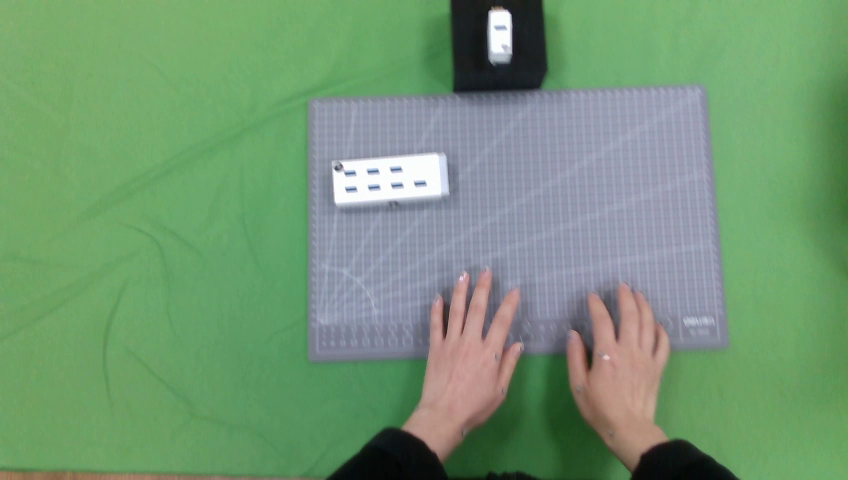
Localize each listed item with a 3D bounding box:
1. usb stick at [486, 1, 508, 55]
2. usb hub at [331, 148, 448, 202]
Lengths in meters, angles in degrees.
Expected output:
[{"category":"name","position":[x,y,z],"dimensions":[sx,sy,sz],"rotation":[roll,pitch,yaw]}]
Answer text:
[{"category":"usb stick","position":[0.076,-0.226,0.634],"dimensions":[0.021,0.027,0.059],"rotation":[-2,80,2]},{"category":"usb hub","position":[-0.038,-0.072,0.663],"dimensions":[0.125,0.025,0.049],"rotation":[-4,82,0]}]
